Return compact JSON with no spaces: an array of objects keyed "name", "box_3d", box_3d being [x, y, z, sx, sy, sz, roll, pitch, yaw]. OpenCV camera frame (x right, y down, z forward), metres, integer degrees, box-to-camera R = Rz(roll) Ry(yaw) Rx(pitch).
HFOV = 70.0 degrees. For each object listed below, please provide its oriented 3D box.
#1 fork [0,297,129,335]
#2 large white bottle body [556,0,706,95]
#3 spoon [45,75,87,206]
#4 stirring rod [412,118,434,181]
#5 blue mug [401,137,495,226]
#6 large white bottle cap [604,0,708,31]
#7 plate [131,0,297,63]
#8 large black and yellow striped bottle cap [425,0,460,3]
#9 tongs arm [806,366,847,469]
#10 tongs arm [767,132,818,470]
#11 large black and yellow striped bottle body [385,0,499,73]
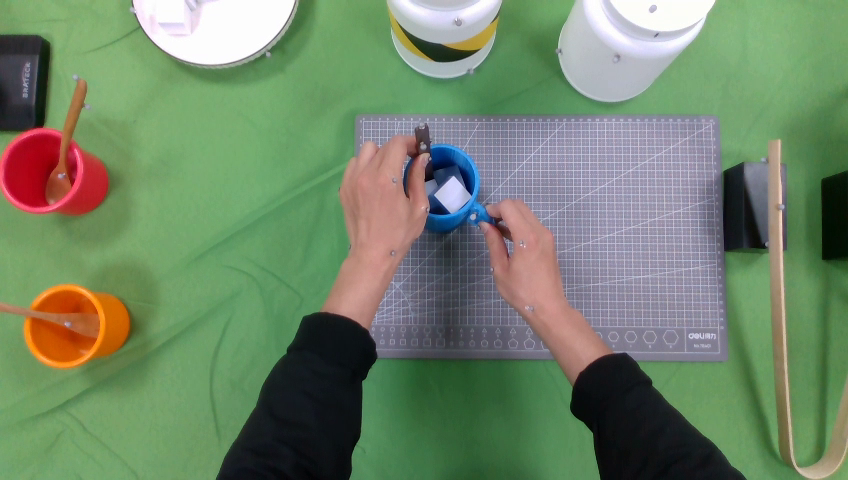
[{"name":"fork","box_3d":[-0.433,0.074,0.665,0.209,0.018,0.028,23,84,-41]},{"name":"large white bottle body","box_3d":[0.226,-0.251,0.669,0.130,0.185,0.130,0,85,1]},{"name":"spoon","box_3d":[-0.403,-0.108,0.683,0.041,0.021,0.194,46,130,7]},{"name":"stirring rod","box_3d":[0.000,-0.092,0.644,0.014,0.177,0.006,-28,78,-3]},{"name":"blue mug","box_3d":[0.032,-0.054,0.691,0.116,0.106,0.082,35,86,3]},{"name":"large white bottle cap","box_3d":[0.225,-0.260,0.585,0.115,0.018,0.114,0,84,0]},{"name":"plate","box_3d":[-0.256,-0.317,0.753,0.208,0.039,0.207,0,85,1]},{"name":"large black and yellow striped bottle cap","box_3d":[0.018,-0.290,0.591,0.115,0.019,0.115,0,86,0]},{"name":"tongs arm","box_3d":[0.495,0.073,0.680,0.028,0.027,0.388,9,97,-7]},{"name":"tongs arm","box_3d":[0.413,0.072,0.679,0.051,0.026,0.385,-4,97,-2]},{"name":"large black and yellow striped bottle body","box_3d":[0.020,-0.280,0.674,0.131,0.184,0.130,0,84,1]}]
